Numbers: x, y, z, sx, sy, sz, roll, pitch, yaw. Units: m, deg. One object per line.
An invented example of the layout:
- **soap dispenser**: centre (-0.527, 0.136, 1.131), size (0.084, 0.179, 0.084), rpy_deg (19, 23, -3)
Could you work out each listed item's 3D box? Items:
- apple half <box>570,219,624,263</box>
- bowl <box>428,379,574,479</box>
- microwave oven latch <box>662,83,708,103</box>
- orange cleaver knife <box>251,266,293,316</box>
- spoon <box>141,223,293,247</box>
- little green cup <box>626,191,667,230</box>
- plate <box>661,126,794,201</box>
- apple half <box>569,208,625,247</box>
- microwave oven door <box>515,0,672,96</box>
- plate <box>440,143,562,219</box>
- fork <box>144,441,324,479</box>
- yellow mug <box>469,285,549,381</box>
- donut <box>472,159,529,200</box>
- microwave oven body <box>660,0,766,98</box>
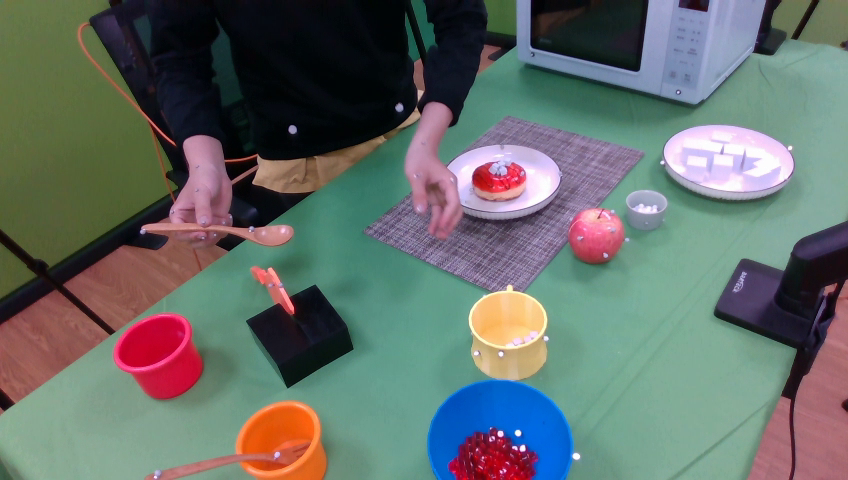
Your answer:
- **apple half**: centre (0.250, 0.010, 0.885), size (0.081, 0.081, 0.033), rpy_deg (7, 39, 17)
- **bowl**: centre (0.082, 0.233, 0.644), size (0.151, 0.077, 0.150), rpy_deg (-4, 40, 4)
- **microwave oven latch**: centre (0.518, -0.296, 1.204), size (0.078, 0.029, 0.030), rpy_deg (28, 52, 35)
- **orange cleaver knife**: centre (-0.221, 0.071, 0.873), size (0.012, 0.077, 0.210), rpy_deg (-26, 11, -21)
- **spoon**: centre (-0.278, -0.012, 0.821), size (0.195, 0.021, 0.041), rpy_deg (6, 44, -16)
- **little green cup**: centre (0.352, -0.046, 0.963), size (0.061, 0.039, 0.061), rpy_deg (-4, 40, 4)
- **plate**: centre (0.513, -0.127, 1.035), size (0.207, 0.039, 0.206), rpy_deg (-4, 40, 4)
- **apple half**: centre (0.262, -0.014, 0.913), size (0.080, 0.075, 0.053), rpy_deg (4, 37, 20)
- **microwave oven door**: centre (0.344, -0.455, 1.259), size (0.353, 0.245, 0.039), rpy_deg (26, 51, 33)
- **plate**: centre (0.134, -0.098, 1.051), size (0.209, 0.038, 0.208), rpy_deg (-4, 40, 4)
- **fork**: centre (-0.189, 0.231, 0.631), size (0.028, 0.018, 0.209), rpy_deg (33, 11, 38)
- **yellow mug**: centre (0.112, 0.112, 0.792), size (0.100, 0.064, 0.130), rpy_deg (0, 40, 9)
- **donut**: centre (0.132, -0.106, 1.043), size (0.099, 0.048, 0.098), rpy_deg (-5, 38, 4)
- **microwave oven body**: centre (0.472, -0.513, 1.317), size (0.438, 0.261, 0.327), rpy_deg (26, 51, 34)
